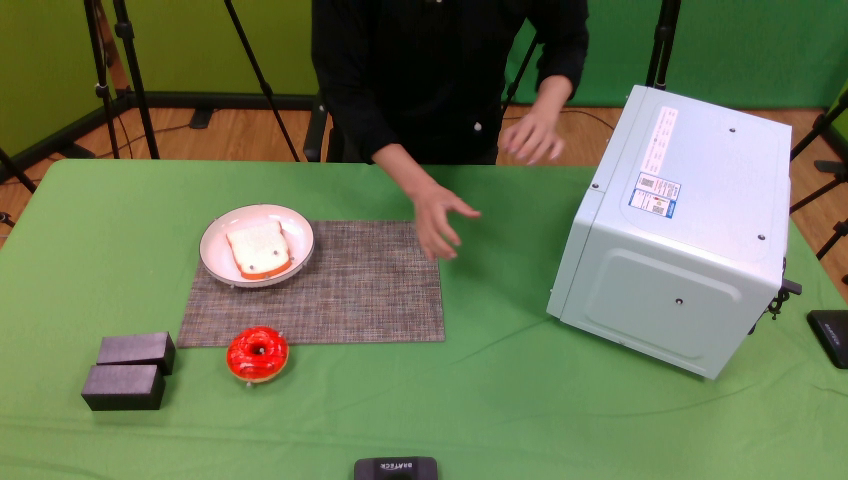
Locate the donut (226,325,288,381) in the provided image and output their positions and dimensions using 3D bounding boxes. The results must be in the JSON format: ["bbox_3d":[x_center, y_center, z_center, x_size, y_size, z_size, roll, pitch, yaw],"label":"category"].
[{"bbox_3d":[-0.270,0.182,0.984,0.099,0.048,0.098,5,49,-5],"label":"donut"}]

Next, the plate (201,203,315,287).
[{"bbox_3d":[-0.310,0.013,1.145,0.208,0.039,0.206,2,46,-2],"label":"plate"}]

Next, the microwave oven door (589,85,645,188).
[{"bbox_3d":[0.342,-0.107,1.149,0.039,0.245,0.354,20,48,15],"label":"microwave oven door"}]

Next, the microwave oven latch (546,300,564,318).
[{"bbox_3d":[0.242,0.102,1.081,0.030,0.029,0.079,22,48,17],"label":"microwave oven latch"}]

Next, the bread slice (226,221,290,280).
[{"bbox_3d":[-0.308,0.019,1.141,0.105,0.019,0.130,-17,49,-18],"label":"bread slice"}]

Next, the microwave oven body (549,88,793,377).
[{"bbox_3d":[0.456,-0.028,1.088,0.325,0.261,0.440,20,47,16],"label":"microwave oven body"}]
